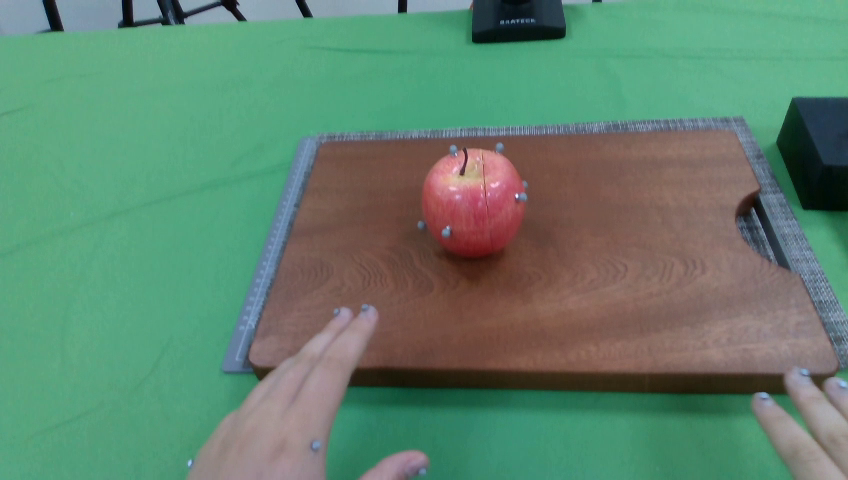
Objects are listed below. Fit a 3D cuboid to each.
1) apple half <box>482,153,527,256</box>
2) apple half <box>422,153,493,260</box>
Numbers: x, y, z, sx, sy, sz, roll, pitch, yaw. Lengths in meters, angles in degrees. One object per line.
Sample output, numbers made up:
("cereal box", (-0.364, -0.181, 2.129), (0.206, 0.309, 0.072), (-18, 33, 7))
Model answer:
("apple half", (0.065, -0.028, 0.473), (0.033, 0.082, 0.080), (-7, 45, 7))
("apple half", (0.026, -0.024, 0.476), (0.053, 0.075, 0.080), (-7, 48, 7))
